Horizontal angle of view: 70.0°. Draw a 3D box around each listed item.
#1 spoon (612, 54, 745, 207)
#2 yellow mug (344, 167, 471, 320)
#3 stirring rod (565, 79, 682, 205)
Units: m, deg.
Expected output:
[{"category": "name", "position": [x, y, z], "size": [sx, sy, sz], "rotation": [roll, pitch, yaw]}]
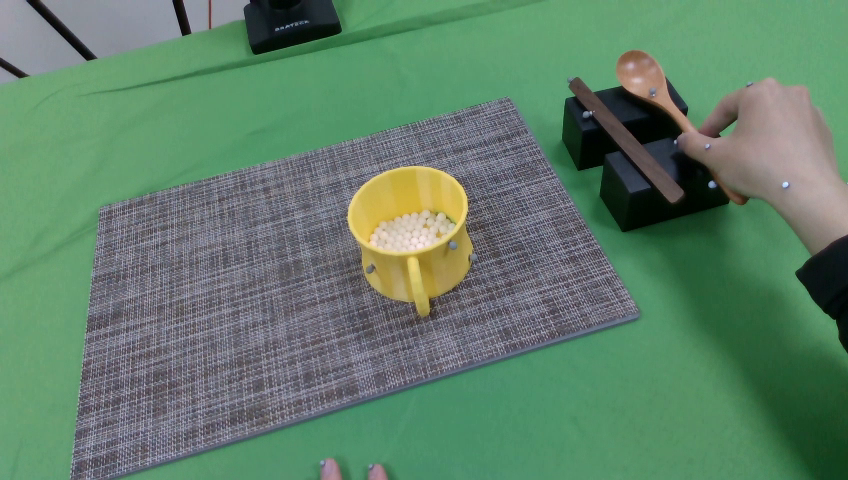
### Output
[{"category": "spoon", "position": [0.221, -0.101, 0.531], "size": [0.041, 0.022, 0.191], "rotation": [-16, 52, -7]}, {"category": "yellow mug", "position": [-0.010, 0.007, 0.506], "size": [0.100, 0.064, 0.129], "rotation": [-10, 51, 1]}, {"category": "stirring rod", "position": [0.170, -0.092, 0.533], "size": [0.014, 0.006, 0.174], "rotation": [-45, 47, 22]}]
